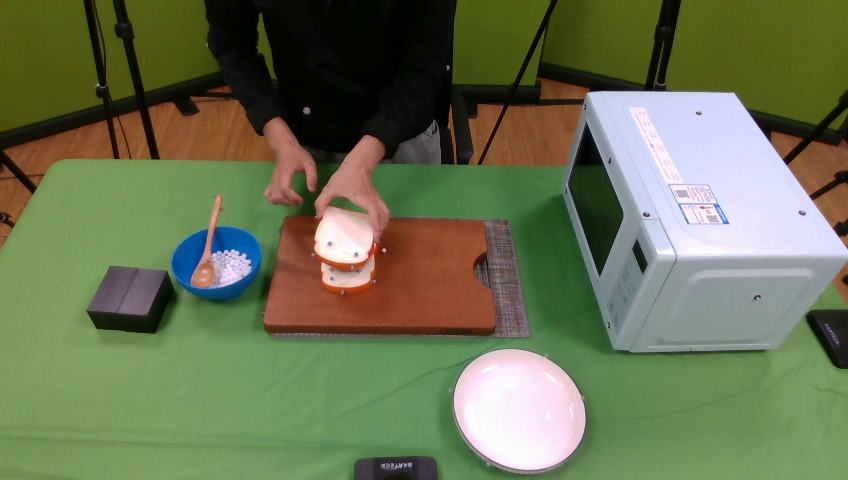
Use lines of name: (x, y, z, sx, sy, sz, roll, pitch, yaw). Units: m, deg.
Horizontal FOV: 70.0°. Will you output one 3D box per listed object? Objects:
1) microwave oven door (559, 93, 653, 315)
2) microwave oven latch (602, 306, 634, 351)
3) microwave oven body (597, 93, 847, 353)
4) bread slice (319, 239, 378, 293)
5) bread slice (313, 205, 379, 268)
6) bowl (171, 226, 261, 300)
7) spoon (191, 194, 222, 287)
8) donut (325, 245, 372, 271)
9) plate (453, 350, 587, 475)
microwave oven door: (0.327, -0.074, 1.123, 0.039, 0.245, 0.353, -1, 46, -5)
microwave oven latch: (0.332, 0.153, 1.044, 0.030, 0.029, 0.078, 0, 45, -4)
microwave oven body: (0.475, -0.041, 1.109, 0.326, 0.261, 0.438, -1, 45, -4)
bread slice: (-0.139, 0.044, 1.112, 0.105, 0.019, 0.130, 0, 44, -2)
bread slice: (-0.137, -0.006, 1.061, 0.107, 0.018, 0.133, 7, 46, -5)
bowl: (-0.364, 0.054, 1.081, 0.151, 0.077, 0.150, 3, 45, -3)
spoon: (-0.383, 0.000, 1.088, 0.041, 0.022, 0.193, -1, 66, 6)
donut: (-0.142, 0.016, 1.095, 0.099, 0.048, 0.098, 2, 44, -2)
plate: (0.147, 0.267, 0.943, 0.208, 0.039, 0.206, 2, 45, -2)
